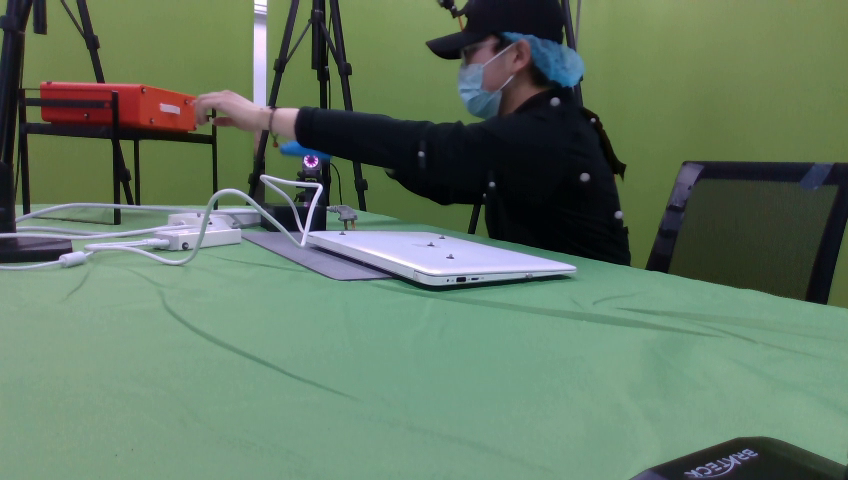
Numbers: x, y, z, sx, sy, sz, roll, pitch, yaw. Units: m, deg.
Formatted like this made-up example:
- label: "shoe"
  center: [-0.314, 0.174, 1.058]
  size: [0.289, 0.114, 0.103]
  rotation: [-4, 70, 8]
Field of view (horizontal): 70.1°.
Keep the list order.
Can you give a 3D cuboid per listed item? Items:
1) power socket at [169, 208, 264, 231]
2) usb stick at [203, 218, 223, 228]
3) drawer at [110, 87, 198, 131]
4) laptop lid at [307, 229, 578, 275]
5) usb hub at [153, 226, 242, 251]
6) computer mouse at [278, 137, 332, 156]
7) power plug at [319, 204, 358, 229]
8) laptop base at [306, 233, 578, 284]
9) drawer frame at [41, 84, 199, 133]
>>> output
- label: "power socket"
  center: [-0.381, -0.038, 1.128]
  size: [0.072, 0.032, 0.227]
  rotation: [4, 8, 16]
- label: "usb stick"
  center: [-0.346, -0.018, 1.009]
  size: [0.027, 0.021, 0.059]
  rotation: [45, -7, 1]
- label: "drawer"
  center: [-0.602, -0.263, 1.225]
  size: [0.211, 0.073, 0.195]
  rotation: [3, 8, 10]
- label: "laptop lid"
  center: [0.009, 0.010, 0.850]
  size: [0.243, 0.013, 0.355]
  rotation: [0, 8, -32]
- label: "usb hub"
  center: [-0.337, -0.003, 0.907]
  size: [0.049, 0.025, 0.125]
  rotation: [6, 9, 28]
- label: "computer mouse"
  center: [-0.260, -0.206, 1.326]
  size: [0.117, 0.041, 0.062]
  rotation: [0, 8, -15]
- label: "power plug"
  center: [-0.168, -0.045, 1.206]
  size: [0.072, 0.052, 0.035]
  rotation: [-8, -7, 5]
- label: "laptop base"
  center: [0.007, 0.022, 0.850]
  size: [0.237, 0.023, 0.352]
  rotation: [1, 7, -34]
- label: "drawer frame"
  center: [-0.604, -0.264, 1.225]
  size: [0.213, 0.082, 0.202]
  rotation: [3, 8, 8]
